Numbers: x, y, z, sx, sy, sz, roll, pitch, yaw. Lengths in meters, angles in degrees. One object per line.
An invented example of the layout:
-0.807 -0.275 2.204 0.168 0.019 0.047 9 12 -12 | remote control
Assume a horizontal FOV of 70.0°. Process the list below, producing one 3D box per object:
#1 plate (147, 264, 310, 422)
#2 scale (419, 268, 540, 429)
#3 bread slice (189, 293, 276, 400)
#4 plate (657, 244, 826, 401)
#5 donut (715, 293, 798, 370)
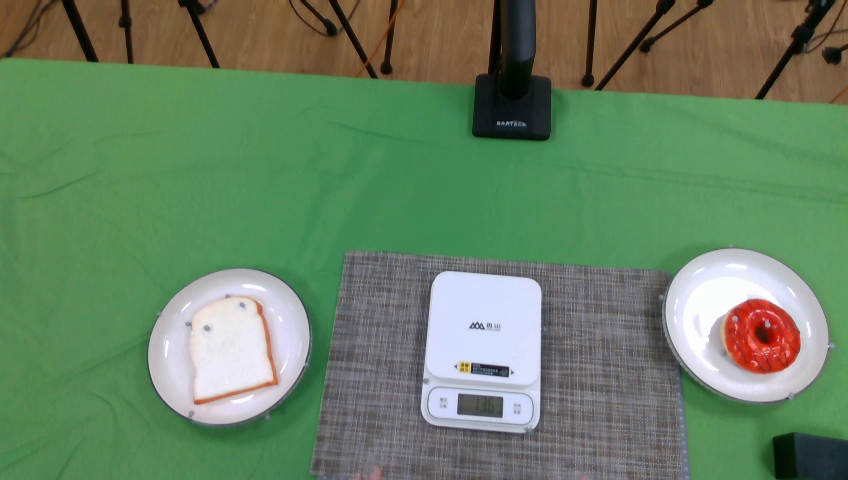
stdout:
-0.250 0.133 0.791 0.209 0.038 0.207 0 67 1 | plate
0.075 0.135 0.782 0.148 0.032 0.199 4 67 3 | scale
-0.256 0.134 0.792 0.105 0.019 0.130 -15 66 -6 | bread slice
0.407 0.107 0.789 0.208 0.039 0.206 0 66 1 | plate
0.422 0.117 0.772 0.099 0.048 0.098 0 71 0 | donut
